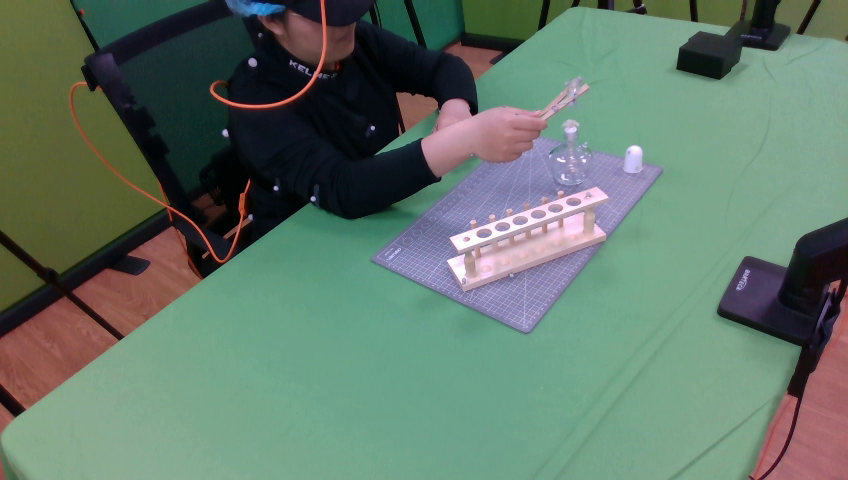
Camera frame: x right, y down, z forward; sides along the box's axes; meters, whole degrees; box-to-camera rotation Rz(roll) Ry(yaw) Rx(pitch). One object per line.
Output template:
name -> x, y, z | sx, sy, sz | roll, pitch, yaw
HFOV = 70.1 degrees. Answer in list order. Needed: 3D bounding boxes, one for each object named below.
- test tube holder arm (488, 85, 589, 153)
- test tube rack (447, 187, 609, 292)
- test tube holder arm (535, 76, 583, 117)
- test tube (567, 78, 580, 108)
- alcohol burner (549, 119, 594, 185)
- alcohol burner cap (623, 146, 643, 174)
test tube holder arm -> 0.176, -0.186, 0.939 | 0.178, 0.013, 0.015 | -33, 0, 18
test tube rack -> 0.155, -0.011, 0.913 | 0.243, 0.085, 0.066 | -19, 41, -11
test tube holder arm -> 0.206, -0.216, 0.925 | 0.087, 0.010, 0.015 | -42, -2, 18
test tube -> 0.230, -0.226, 0.937 | 0.017, 0.017, 0.150 | 0, 1, 12
alcohol burner -> 0.254, -0.155, 1.043 | 0.078, 0.120, 0.077 | -7, 40, 6
alcohol burner cap -> 0.369, -0.142, 1.062 | 0.034, 0.048, 0.033 | -7, 40, 6
